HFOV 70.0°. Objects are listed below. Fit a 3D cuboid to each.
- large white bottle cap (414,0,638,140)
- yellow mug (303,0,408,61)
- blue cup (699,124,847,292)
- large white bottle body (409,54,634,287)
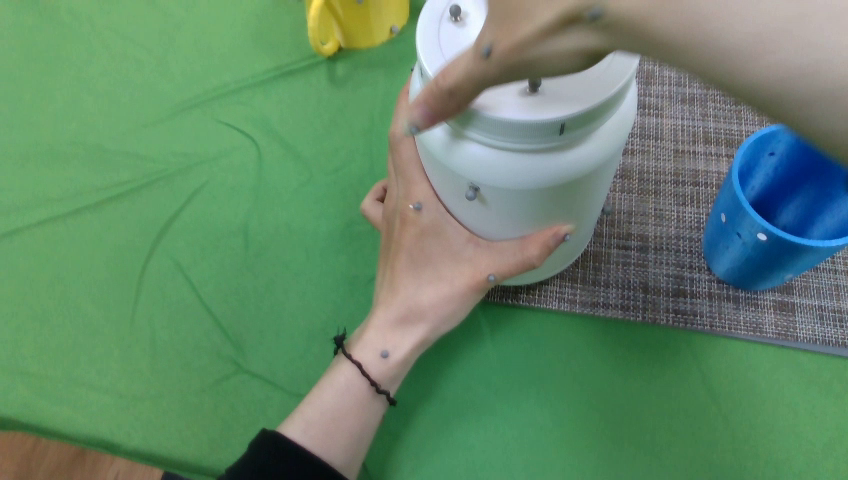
[{"bbox_3d":[0.052,-0.102,0.315,0.115,0.018,0.114,-1,62,3],"label":"large white bottle cap"},{"bbox_3d":[-0.073,-0.220,0.551,0.099,0.064,0.130,19,67,13],"label":"yellow mug"},{"bbox_3d":[0.228,-0.011,0.400,0.092,0.101,0.092,-2,63,5],"label":"blue cup"},{"bbox_3d":[0.058,-0.062,0.391,0.130,0.186,0.129,-1,63,3],"label":"large white bottle body"}]
